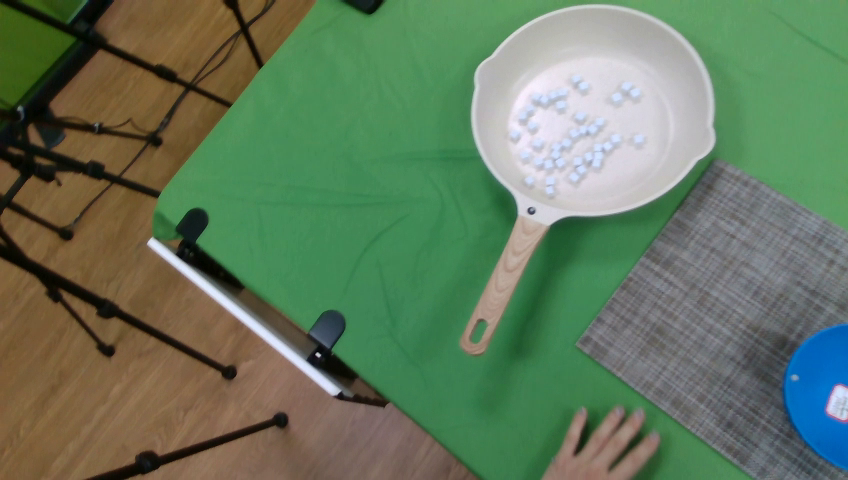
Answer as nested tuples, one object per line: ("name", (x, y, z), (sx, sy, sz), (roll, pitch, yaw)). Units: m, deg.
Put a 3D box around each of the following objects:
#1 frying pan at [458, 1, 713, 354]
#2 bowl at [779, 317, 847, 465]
("frying pan", (0.159, -0.078, 0.752), (0.305, 0.103, 0.486), (24, 72, 18))
("bowl", (0.443, 0.160, 0.631), (0.151, 0.077, 0.150), (-3, 74, 12))
